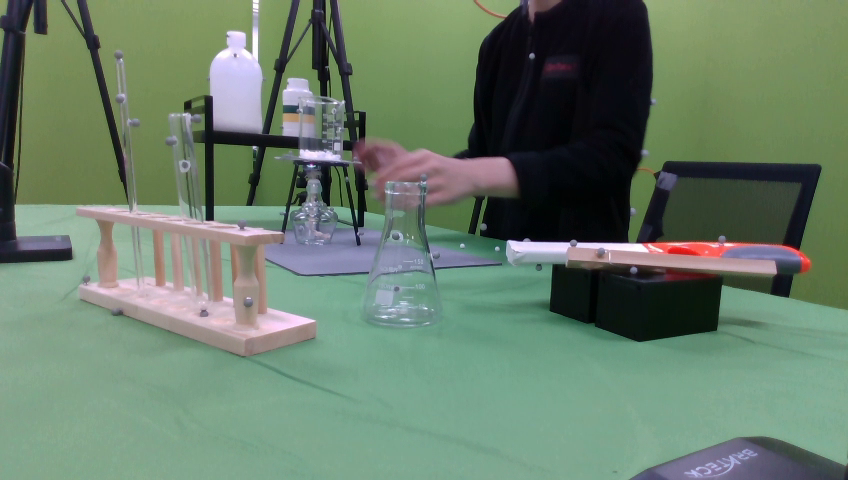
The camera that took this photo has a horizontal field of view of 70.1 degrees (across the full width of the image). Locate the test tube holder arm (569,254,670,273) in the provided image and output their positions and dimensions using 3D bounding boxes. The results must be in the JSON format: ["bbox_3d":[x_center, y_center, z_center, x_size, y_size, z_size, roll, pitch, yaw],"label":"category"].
[{"bbox_3d":[0.172,0.019,0.532,0.088,0.015,0.010,3,-23,4],"label":"test tube holder arm"}]

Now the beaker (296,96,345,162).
[{"bbox_3d":[-0.163,-0.175,0.966,0.083,0.100,0.074,7,8,34],"label":"beaker"}]

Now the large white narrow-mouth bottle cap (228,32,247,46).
[{"bbox_3d":[-0.364,-0.391,1.180,0.038,0.024,0.037,3,8,0],"label":"large white narrow-mouth bottle cap"}]

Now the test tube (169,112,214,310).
[{"bbox_3d":[-0.175,-0.020,0.455,0.017,0.150,0.017,-3,9,1],"label":"test tube"}]

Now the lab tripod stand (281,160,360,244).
[{"bbox_3d":[-0.170,-0.063,0.983,0.148,0.131,0.148,1,6,0],"label":"lab tripod stand"}]

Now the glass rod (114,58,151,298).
[{"bbox_3d":[-0.236,-0.044,0.492,0.008,0.199,0.008,0,15,0],"label":"glass rod"}]

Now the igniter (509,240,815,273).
[{"bbox_3d":[0.220,0.015,0.566,0.277,0.025,0.057,2,16,0],"label":"igniter"}]

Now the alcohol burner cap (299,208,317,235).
[{"bbox_3d":[-0.213,-0.035,1.110,0.034,0.048,0.034,3,7,0],"label":"alcohol burner cap"}]

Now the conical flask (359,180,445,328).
[{"bbox_3d":[-0.017,0.010,0.522,0.075,0.122,0.075,2,7,0],"label":"conical flask"}]

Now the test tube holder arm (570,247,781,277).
[{"bbox_3d":[0.217,0.019,0.524,0.178,0.015,0.013,3,-23,3],"label":"test tube holder arm"}]

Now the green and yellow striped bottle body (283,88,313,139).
[{"bbox_3d":[-0.266,-0.275,1.275,0.063,0.119,0.063,2,7,0],"label":"green and yellow striped bottle body"}]

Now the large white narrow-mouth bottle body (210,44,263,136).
[{"bbox_3d":[-0.369,-0.306,1.194,0.102,0.194,0.102,3,8,0],"label":"large white narrow-mouth bottle body"}]

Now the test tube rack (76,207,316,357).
[{"bbox_3d":[-0.196,0.023,0.499,0.241,0.085,0.067,8,9,36],"label":"test tube rack"}]

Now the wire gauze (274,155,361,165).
[{"bbox_3d":[-0.174,-0.129,0.978,0.125,0.011,0.121,-2,6,-19],"label":"wire gauze"}]

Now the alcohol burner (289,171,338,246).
[{"bbox_3d":[-0.177,-0.051,0.968,0.078,0.119,0.078,1,6,0],"label":"alcohol burner"}]

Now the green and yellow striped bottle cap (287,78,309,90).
[{"bbox_3d":[-0.265,-0.326,1.268,0.045,0.020,0.045,4,6,0],"label":"green and yellow striped bottle cap"}]
